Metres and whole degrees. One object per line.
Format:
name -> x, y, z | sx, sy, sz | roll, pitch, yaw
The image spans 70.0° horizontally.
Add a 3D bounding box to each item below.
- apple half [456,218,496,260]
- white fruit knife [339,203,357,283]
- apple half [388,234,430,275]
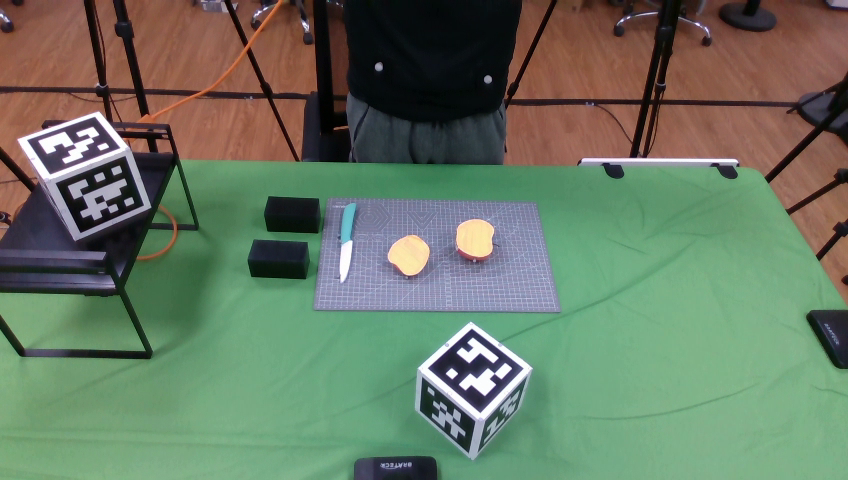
apple half -> 0.098, 0.003, 1.168 | 0.075, 0.053, 0.080 | 4, 68, -4
white fruit knife -> -0.151, 0.003, 1.179 | 0.027, 0.016, 0.206 | -7, 47, 7
apple half -> -0.023, 0.031, 1.143 | 0.081, 0.033, 0.081 | -4, 67, 9
